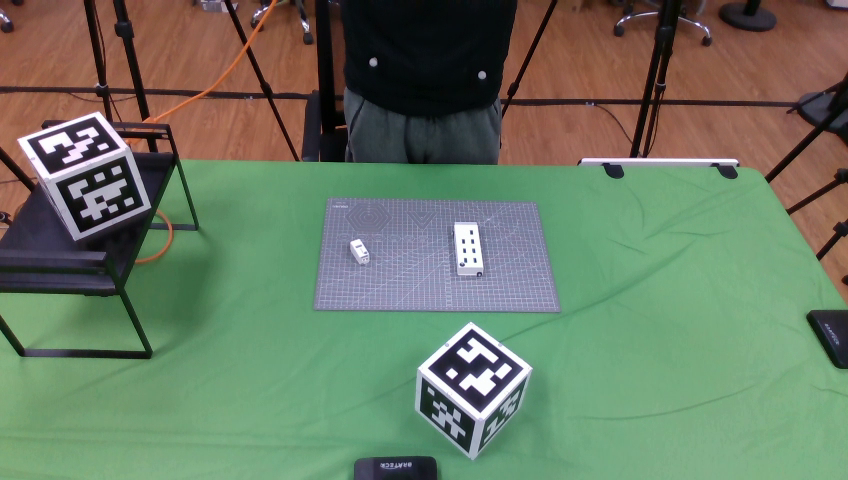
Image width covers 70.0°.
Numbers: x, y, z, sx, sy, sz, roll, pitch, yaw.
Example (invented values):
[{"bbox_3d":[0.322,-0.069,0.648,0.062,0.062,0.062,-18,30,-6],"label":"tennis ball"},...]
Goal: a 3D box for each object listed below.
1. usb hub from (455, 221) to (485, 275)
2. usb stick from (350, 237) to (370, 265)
[{"bbox_3d":[0.088,0.014,1.178,0.049,0.025,0.124,0,46,-3],"label":"usb hub"},{"bbox_3d":[-0.120,0.025,1.149,0.021,0.027,0.059,-29,52,6],"label":"usb stick"}]
